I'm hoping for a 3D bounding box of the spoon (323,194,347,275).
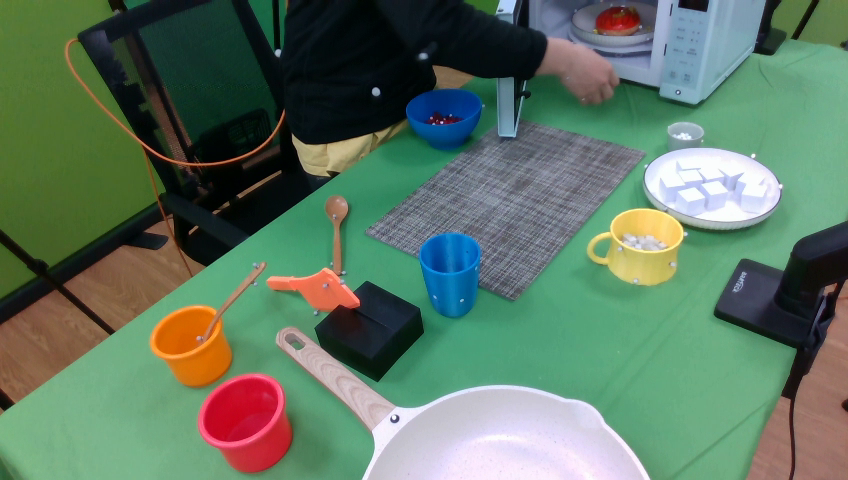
[{"bbox_3d":[-0.148,-0.014,1.008,0.042,0.021,0.192,5,39,-13],"label":"spoon"}]

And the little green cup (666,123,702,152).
[{"bbox_3d":[0.472,-0.183,1.103,0.061,0.039,0.061,-5,41,5],"label":"little green cup"}]

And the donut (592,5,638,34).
[{"bbox_3d":[0.427,-0.491,1.348,0.099,0.048,0.098,-6,38,6],"label":"donut"}]

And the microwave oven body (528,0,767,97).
[{"bbox_3d":[0.473,-0.516,1.313,0.438,0.261,0.327,26,51,34],"label":"microwave oven body"}]

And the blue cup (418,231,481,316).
[{"bbox_3d":[0.040,0.052,0.843,0.092,0.100,0.092,-4,43,4],"label":"blue cup"}]

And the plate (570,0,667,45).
[{"bbox_3d":[0.436,-0.491,1.364,0.209,0.038,0.208,-6,41,6],"label":"plate"}]

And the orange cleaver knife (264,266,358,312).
[{"bbox_3d":[-0.165,0.073,0.864,0.210,0.077,0.012,-6,31,49],"label":"orange cleaver knife"}]

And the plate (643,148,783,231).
[{"bbox_3d":[0.464,-0.080,0.985,0.207,0.039,0.206,-4,41,4],"label":"plate"}]

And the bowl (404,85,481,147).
[{"bbox_3d":[0.040,-0.237,1.196,0.151,0.077,0.150,-4,41,4],"label":"bowl"}]

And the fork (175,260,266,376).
[{"bbox_3d":[-0.268,0.103,0.792,0.207,0.019,0.028,-51,41,16],"label":"fork"}]

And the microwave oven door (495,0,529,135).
[{"bbox_3d":[0.183,-0.411,1.225,0.039,0.245,0.355,4,42,12],"label":"microwave oven door"}]

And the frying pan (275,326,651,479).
[{"bbox_3d":[0.004,0.229,0.641,0.484,0.103,0.308,34,54,28],"label":"frying pan"}]

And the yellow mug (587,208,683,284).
[{"bbox_3d":[0.305,0.009,0.884,0.131,0.064,0.099,-4,41,5],"label":"yellow mug"}]

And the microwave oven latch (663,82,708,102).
[{"bbox_3d":[0.518,-0.298,1.202,0.030,0.029,0.078,-37,48,-29],"label":"microwave oven latch"}]
